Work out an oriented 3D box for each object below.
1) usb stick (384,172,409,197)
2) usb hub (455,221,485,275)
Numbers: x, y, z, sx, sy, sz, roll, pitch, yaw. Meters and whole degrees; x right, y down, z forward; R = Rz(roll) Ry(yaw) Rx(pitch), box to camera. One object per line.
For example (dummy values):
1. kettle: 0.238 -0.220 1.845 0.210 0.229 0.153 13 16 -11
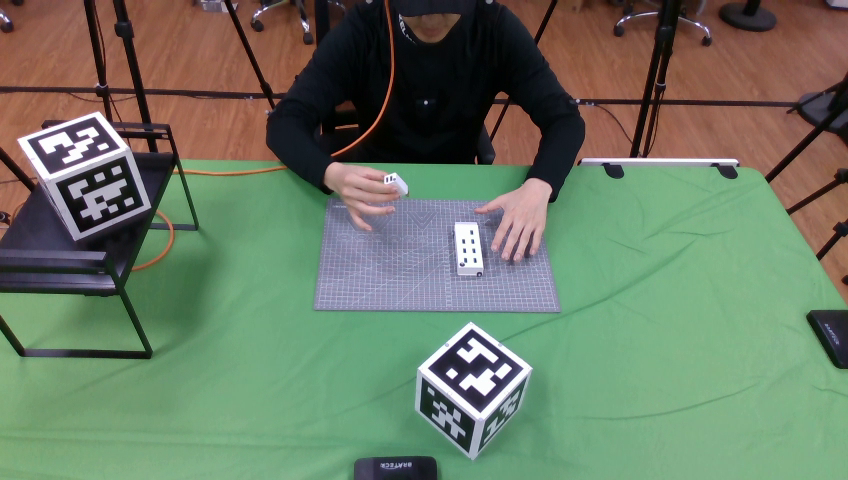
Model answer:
1. usb stick: -0.048 -0.097 1.112 0.027 0.059 0.021 -20 49 22
2. usb hub: 0.088 0.014 1.178 0.049 0.025 0.124 1 46 -3
